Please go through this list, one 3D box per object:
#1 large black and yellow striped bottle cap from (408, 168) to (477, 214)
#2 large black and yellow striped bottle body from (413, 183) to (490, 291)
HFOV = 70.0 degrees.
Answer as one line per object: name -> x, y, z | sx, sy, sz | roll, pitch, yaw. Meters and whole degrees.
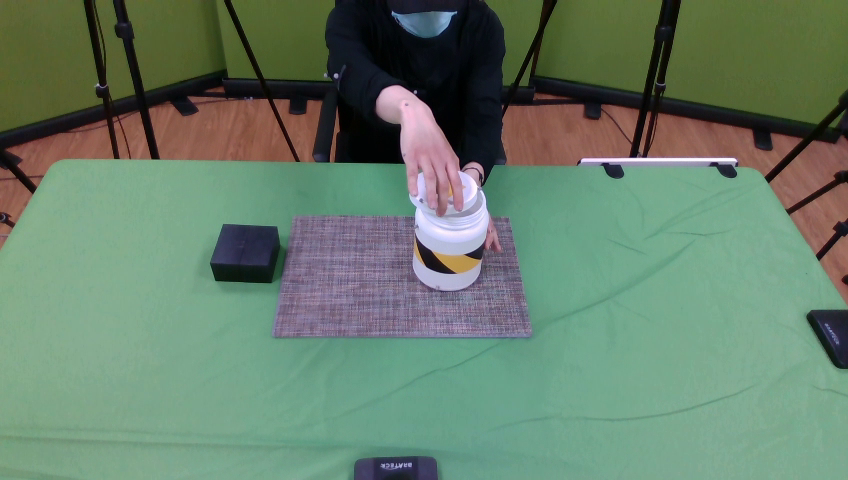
large black and yellow striped bottle cap -> 0.031, -0.084, 1.010 | 0.115, 0.019, 0.114 | 1, 40, -1
large black and yellow striped bottle body -> 0.048, -0.012, 1.091 | 0.131, 0.185, 0.130 | 2, 46, -2
